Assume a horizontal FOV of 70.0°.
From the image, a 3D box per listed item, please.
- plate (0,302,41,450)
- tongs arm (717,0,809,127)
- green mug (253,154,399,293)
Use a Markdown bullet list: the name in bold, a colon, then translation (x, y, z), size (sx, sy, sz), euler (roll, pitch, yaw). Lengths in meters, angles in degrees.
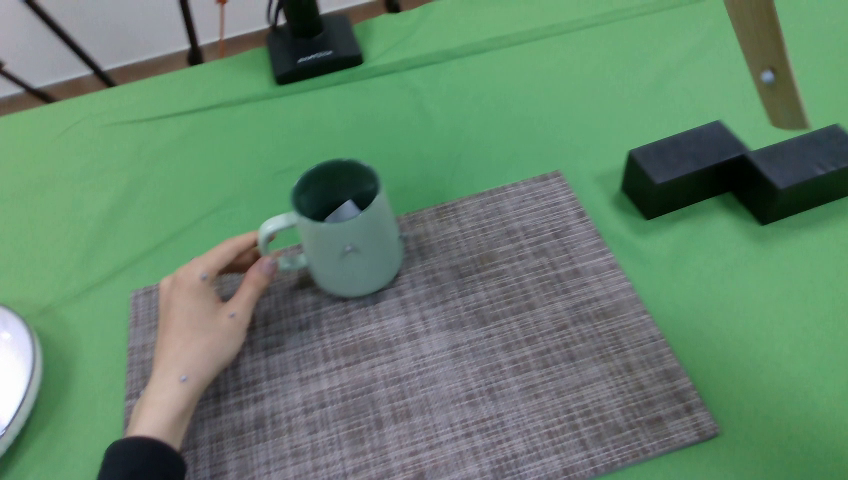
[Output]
- **plate**: translation (-0.430, 0.143, 0.517), size (0.209, 0.038, 0.207), euler (-3, 51, 4)
- **tongs arm**: translation (0.127, -0.161, 0.267), size (0.027, 0.392, 0.028), euler (22, 80, 46)
- **green mug**: translation (-0.089, -0.008, 0.545), size (0.125, 0.106, 0.091), euler (-17, 51, -6)
